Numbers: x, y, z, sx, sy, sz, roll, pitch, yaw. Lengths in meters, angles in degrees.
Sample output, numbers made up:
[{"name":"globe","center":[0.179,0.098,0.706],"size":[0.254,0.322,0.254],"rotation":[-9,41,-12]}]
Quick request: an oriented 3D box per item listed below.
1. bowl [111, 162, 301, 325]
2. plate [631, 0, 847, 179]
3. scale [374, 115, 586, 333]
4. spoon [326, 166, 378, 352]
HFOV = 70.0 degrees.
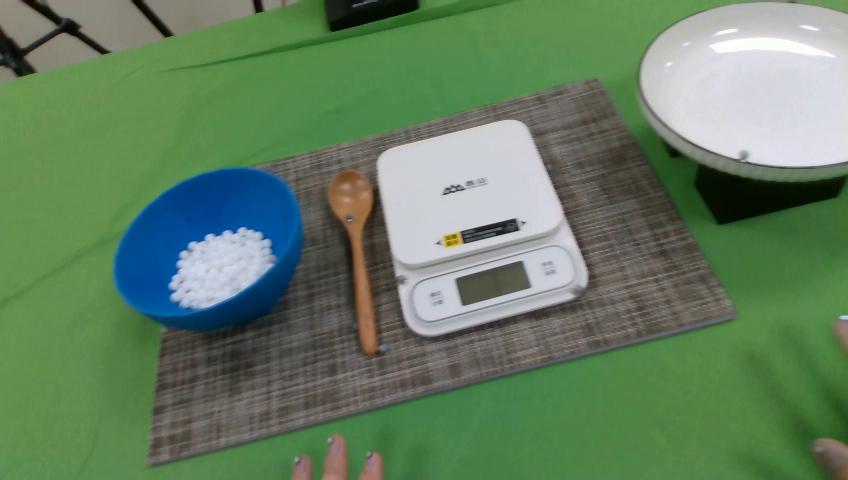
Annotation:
[{"name":"bowl","center":[-0.167,0.015,0.507],"size":[0.151,0.077,0.150],"rotation":[-5,52,7]},{"name":"plate","center":[0.273,-0.122,0.487],"size":[0.209,0.038,0.207],"rotation":[-6,52,8]},{"name":"scale","center":[0.040,-0.023,0.523],"size":[0.149,0.032,0.198],"rotation":[-15,52,1]},{"name":"spoon","center":[-0.060,0.009,0.525],"size":[0.042,0.022,0.191],"rotation":[-4,50,-10]}]
